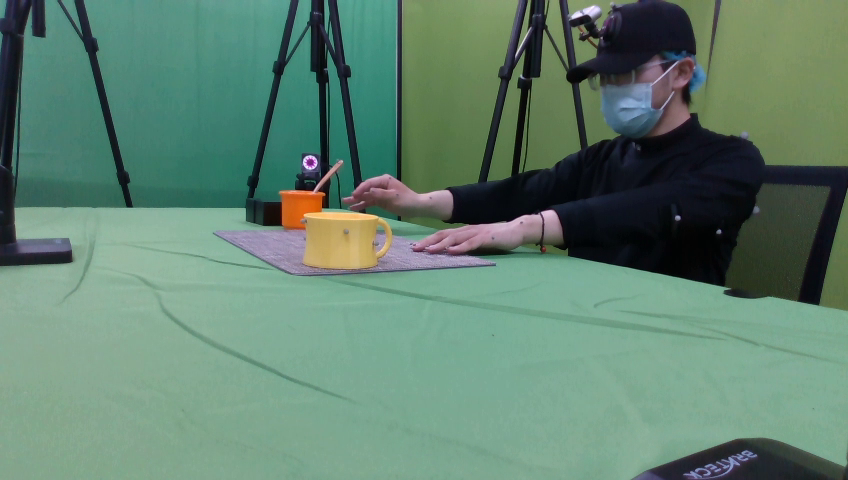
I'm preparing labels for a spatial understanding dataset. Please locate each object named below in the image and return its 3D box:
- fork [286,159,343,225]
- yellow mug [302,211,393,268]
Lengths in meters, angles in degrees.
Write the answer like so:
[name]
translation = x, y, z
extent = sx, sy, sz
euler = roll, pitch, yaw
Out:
[fork]
translation = -0.222, -0.102, 1.253
extent = 0.028, 0.019, 0.207
euler = 8, 52, 30
[yellow mug]
translation = -0.098, -0.003, 0.810
extent = 0.131, 0.064, 0.099
euler = -2, 8, -37
